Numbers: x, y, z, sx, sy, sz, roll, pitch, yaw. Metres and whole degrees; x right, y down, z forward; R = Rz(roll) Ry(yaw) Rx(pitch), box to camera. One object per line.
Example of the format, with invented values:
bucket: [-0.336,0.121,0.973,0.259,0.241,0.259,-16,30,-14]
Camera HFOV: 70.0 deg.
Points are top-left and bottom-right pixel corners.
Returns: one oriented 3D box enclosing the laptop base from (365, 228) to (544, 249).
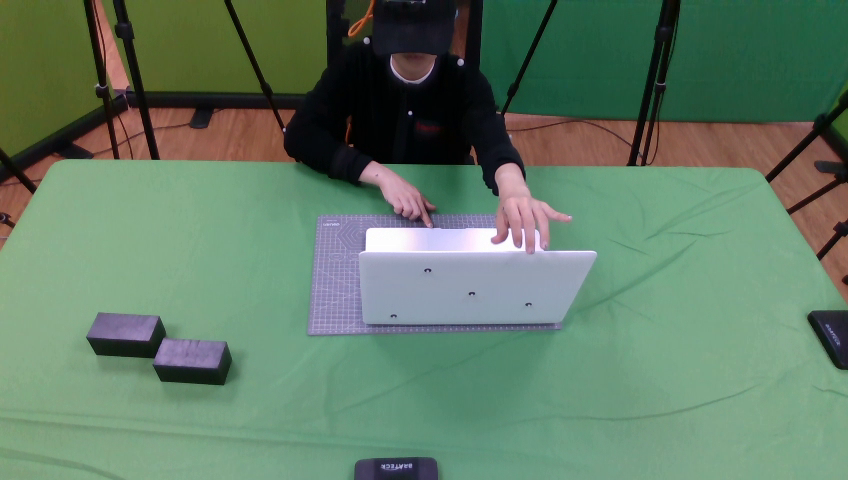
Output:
laptop base: [0.064,0.063,1.142,0.355,0.023,0.234,0,42,-4]

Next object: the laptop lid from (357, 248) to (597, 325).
laptop lid: [0.075,0.080,0.962,0.357,0.243,0.013,1,56,-5]
